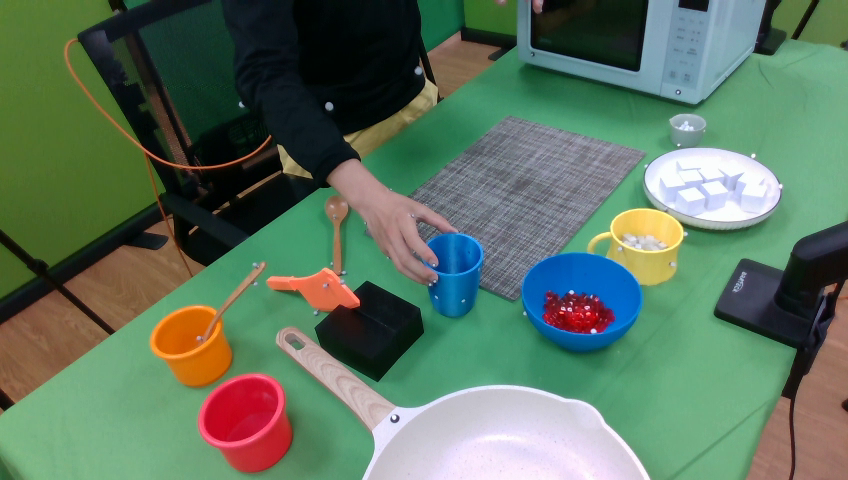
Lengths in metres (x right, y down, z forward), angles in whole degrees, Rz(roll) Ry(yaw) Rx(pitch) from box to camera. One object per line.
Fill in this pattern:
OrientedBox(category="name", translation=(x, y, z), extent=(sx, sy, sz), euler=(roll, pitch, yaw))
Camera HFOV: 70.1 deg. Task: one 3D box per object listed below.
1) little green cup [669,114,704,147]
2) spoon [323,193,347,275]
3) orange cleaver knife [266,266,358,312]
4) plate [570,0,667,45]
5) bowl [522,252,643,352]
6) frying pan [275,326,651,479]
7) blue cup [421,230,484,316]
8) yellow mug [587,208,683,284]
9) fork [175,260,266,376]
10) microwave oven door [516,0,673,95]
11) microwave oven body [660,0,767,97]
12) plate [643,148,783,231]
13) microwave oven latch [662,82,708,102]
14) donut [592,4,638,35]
OrientedBox(category="little green cup", translation=(0.485, -0.203, 1.123), extent=(0.061, 0.039, 0.061), euler=(-5, 40, 5))
OrientedBox(category="spoon", translation=(-0.148, -0.014, 1.008), extent=(0.042, 0.022, 0.192), euler=(1, 40, -9))
OrientedBox(category="orange cleaver knife", translation=(-0.164, 0.073, 0.864), extent=(0.210, 0.077, 0.012), euler=(-6, 30, 50))
OrientedBox(category="plate", translation=(0.436, -0.489, 1.368), extent=(0.209, 0.038, 0.208), euler=(-5, 40, 5))
OrientedBox(category="bowl", translation=(0.204, 0.093, 0.792), extent=(0.151, 0.077, 0.150), euler=(-4, 40, 4))
OrientedBox(category="frying pan", translation=(0.004, 0.229, 0.641), extent=(0.484, 0.103, 0.308), euler=(34, 54, 28))
OrientedBox(category="blue cup", translation=(0.039, 0.052, 0.841), extent=(0.093, 0.100, 0.092), euler=(-1, 42, 1))
OrientedBox(category="yellow mug", translation=(0.305, 0.009, 0.884), extent=(0.131, 0.064, 0.099), euler=(-4, 41, 5))
OrientedBox(category="fork", translation=(-0.268, 0.103, 0.792), extent=(0.207, 0.019, 0.028), euler=(-51, 40, 16))
OrientedBox(category="microwave oven door", translation=(0.344, -0.458, 1.256), extent=(0.353, 0.245, 0.039), euler=(26, 51, 33))
OrientedBox(category="microwave oven body", translation=(0.473, -0.516, 1.313), extent=(0.438, 0.261, 0.327), euler=(26, 51, 34))
OrientedBox(category="plate", translation=(0.464, -0.080, 0.986), extent=(0.207, 0.039, 0.206), euler=(-4, 40, 4))
OrientedBox(category="microwave oven latch", translation=(0.518, -0.299, 1.203), extent=(0.078, 0.029, 0.030), euler=(30, 53, 36))
OrientedBox(category="donut", translation=(0.428, -0.492, 1.352), extent=(0.099, 0.048, 0.098), euler=(-6, 41, 6))
